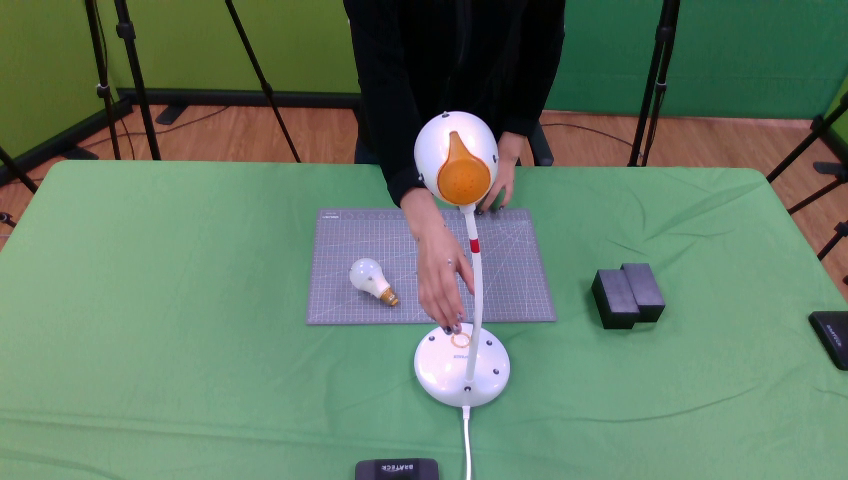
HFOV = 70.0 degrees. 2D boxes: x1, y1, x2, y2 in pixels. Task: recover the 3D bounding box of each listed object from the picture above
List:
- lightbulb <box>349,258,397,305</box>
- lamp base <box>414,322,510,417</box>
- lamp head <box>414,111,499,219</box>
[{"bbox_3d":[-0.090,0.078,1.095,0.107,0.060,0.059,43,56,12],"label":"lightbulb"},{"bbox_3d":[0.069,0.160,0.941,0.161,0.181,0.178,-4,49,-8],"label":"lamp base"},{"bbox_3d":[0.044,-0.089,0.758,0.112,0.113,0.122,-1,32,-4],"label":"lamp head"}]
